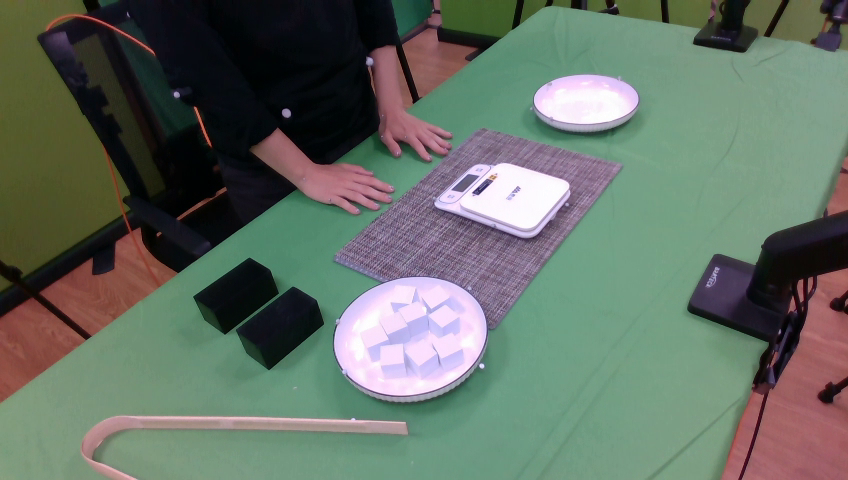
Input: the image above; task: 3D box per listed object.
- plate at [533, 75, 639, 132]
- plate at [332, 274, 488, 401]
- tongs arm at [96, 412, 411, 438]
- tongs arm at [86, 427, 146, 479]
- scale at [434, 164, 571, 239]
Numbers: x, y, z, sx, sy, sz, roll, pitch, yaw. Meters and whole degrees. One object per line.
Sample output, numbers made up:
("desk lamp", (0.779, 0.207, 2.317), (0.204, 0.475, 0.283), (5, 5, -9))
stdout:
("plate", (0.327, -0.272, 1.228), (0.209, 0.038, 0.208), (-4, 40, 4))
("plate", (-0.017, 0.130, 0.808), (0.207, 0.039, 0.206), (-4, 41, 4))
("tongs arm", (-0.208, 0.226, 0.732), (0.387, 0.028, 0.028), (-1, 43, 7))
("tongs arm", (-0.232, 0.280, 0.665), (0.383, 0.026, 0.051), (9, 42, 20))
("scale", (0.132, -0.075, 1.025), (0.199, 0.032, 0.149), (22, 48, 30))
